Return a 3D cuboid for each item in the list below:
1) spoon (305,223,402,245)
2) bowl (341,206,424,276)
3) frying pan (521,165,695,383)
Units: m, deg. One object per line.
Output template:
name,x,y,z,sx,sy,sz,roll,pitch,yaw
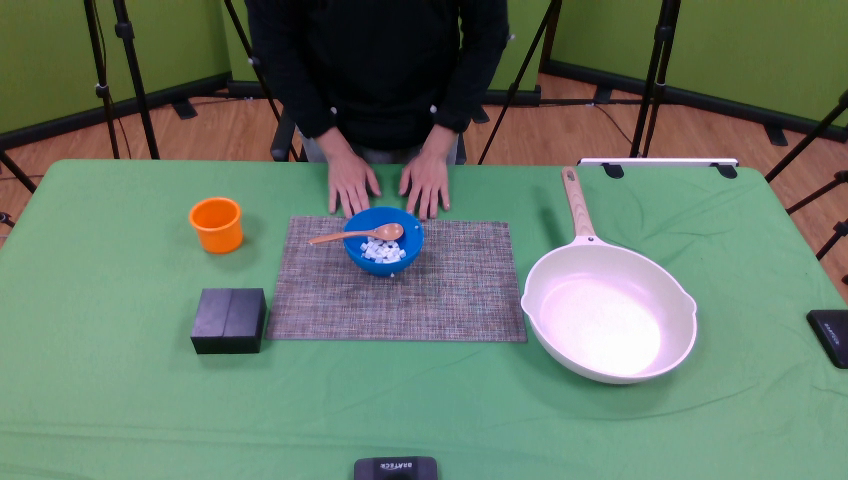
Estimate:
spoon,-0.126,-0.010,1.109,0.194,0.022,0.041,-5,49,-35
bowl,-0.079,0.014,1.133,0.151,0.077,0.150,2,46,-2
frying pan,0.312,0.044,1.123,0.307,0.103,0.484,1,55,-5
